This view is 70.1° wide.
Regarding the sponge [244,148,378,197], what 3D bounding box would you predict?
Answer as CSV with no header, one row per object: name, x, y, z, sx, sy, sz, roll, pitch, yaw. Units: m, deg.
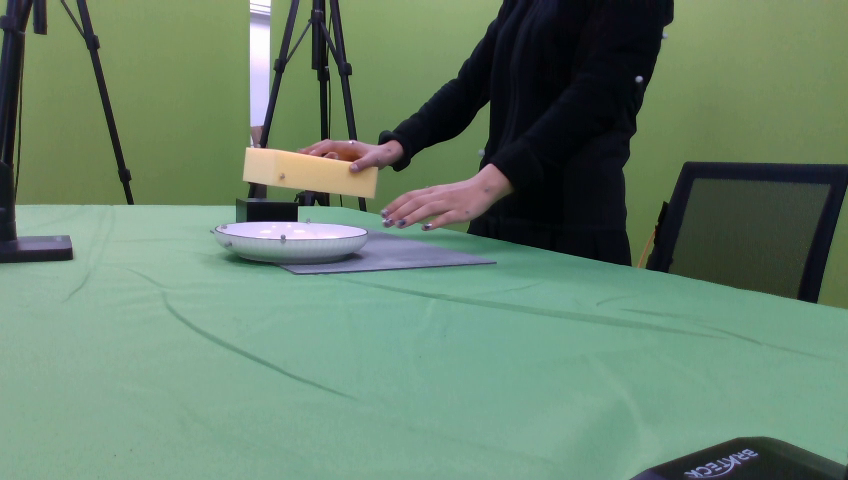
sponge,-0.201,-0.121,1.089,0.208,0.061,0.117,3,6,-41

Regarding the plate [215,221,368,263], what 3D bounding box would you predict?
plate,-0.182,0.002,0.846,0.209,0.038,0.209,2,7,0
